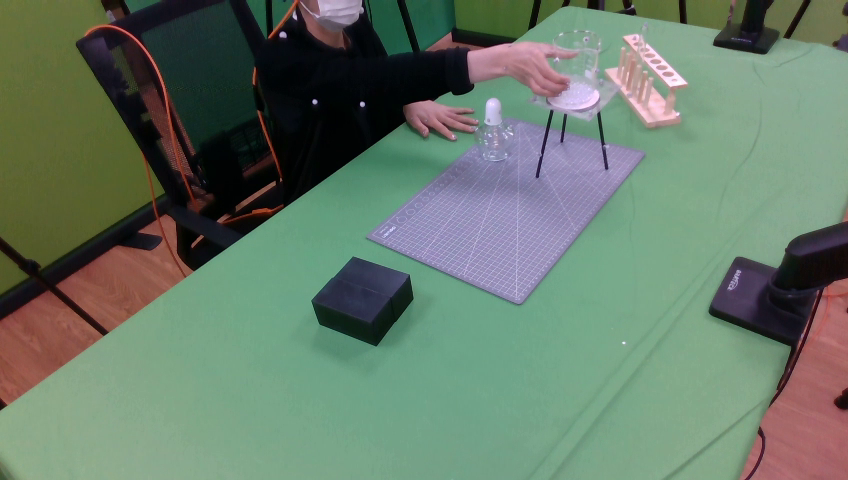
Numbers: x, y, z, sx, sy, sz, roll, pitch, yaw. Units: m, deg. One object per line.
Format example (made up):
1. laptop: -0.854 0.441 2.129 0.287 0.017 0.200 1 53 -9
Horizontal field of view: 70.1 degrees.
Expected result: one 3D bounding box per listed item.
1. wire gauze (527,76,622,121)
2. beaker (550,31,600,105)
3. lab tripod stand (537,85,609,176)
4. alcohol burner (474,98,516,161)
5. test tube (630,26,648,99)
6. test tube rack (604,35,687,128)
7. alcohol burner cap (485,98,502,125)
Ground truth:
1. wire gauze: 0.255 -0.247 1.030 0.124 0.011 0.122 23 49 34
2. beaker: 0.250 -0.281 0.996 0.074 0.101 0.083 -37 49 -27
3. lab tripod stand: 0.259 -0.192 1.068 0.148 0.132 0.147 -4 43 4
4. alcohol burner: 0.131 -0.208 1.121 0.078 0.119 0.077 -6 40 5
5. test tube: 0.426 -0.350 1.199 0.017 0.151 0.017 -4 42 4
6. test tube rack: 0.447 -0.330 1.241 0.067 0.085 0.241 -9 41 -2
7. alcohol burner cap: 0.126 -0.234 1.097 0.034 0.048 0.033 -3 40 3
